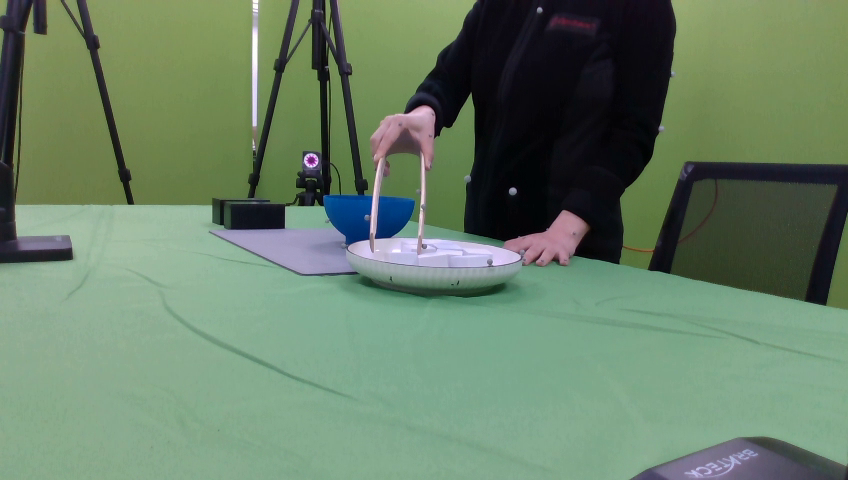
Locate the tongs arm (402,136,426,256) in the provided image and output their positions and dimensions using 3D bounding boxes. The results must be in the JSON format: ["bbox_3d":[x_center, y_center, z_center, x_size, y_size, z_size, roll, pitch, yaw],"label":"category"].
[{"bbox_3d":[-0.019,-0.076,0.824,0.051,0.026,0.384,1,25,2],"label":"tongs arm"}]

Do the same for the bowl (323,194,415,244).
[{"bbox_3d":[-0.091,-0.032,0.986,0.151,0.077,0.151,2,7,0],"label":"bowl"}]

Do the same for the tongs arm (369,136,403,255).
[{"bbox_3d":[-0.051,-0.077,0.823,0.028,0.028,0.387,-3,25,2],"label":"tongs arm"}]

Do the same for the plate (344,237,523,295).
[{"bbox_3d":[0.010,0.030,0.707,0.208,0.039,0.207,3,8,0],"label":"plate"}]
